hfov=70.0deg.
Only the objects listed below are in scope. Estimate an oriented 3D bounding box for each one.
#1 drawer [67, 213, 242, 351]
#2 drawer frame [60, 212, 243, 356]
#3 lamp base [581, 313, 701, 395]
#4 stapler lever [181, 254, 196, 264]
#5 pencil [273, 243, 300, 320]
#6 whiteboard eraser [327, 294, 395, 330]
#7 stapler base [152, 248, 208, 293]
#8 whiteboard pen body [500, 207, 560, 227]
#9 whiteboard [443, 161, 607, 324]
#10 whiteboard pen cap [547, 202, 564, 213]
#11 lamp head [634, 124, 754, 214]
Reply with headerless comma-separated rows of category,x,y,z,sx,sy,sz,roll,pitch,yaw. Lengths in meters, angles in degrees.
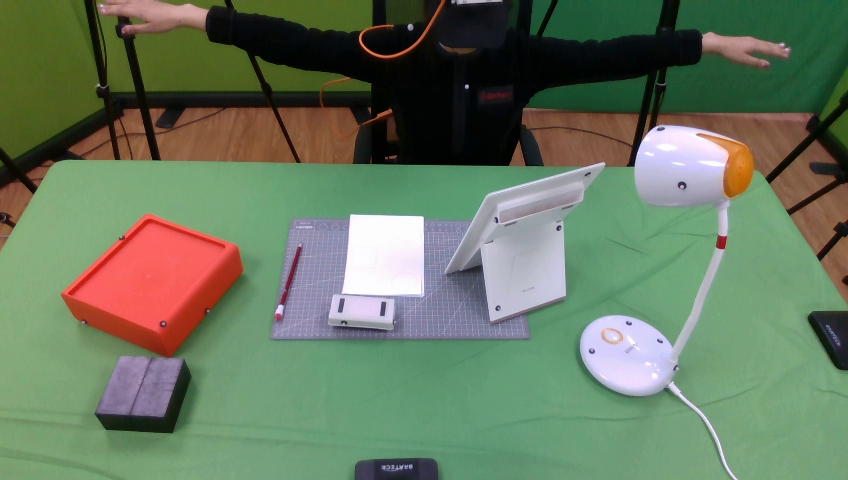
drawer,-0.461,0.068,1.057,0.194,0.073,0.211,19,48,13
drawer frame,-0.462,0.070,1.053,0.201,0.083,0.213,18,48,12
lamp base,0.361,0.144,0.973,0.178,0.181,0.160,34,53,23
stapler lever,-0.440,0.026,1.086,0.117,0.040,0.027,31,37,30
pencil,-0.249,0.070,1.115,0.012,0.012,0.193,5,44,1
whiteboard eraser,-0.108,0.127,1.049,0.113,0.042,0.055,4,45,0
stapler base,-0.443,0.049,1.101,0.130,0.024,0.041,33,38,28
whiteboard pen body,0.222,-0.051,1.259,0.141,0.017,0.017,-15,49,-16
whiteboard,0.185,0.026,1.028,0.217,0.306,0.143,-15,68,-18
whiteboard pen cap,0.277,-0.066,1.275,0.033,0.018,0.018,-18,50,-15
lamp head,0.351,-0.089,0.775,0.112,0.113,0.122,-30,30,-28
